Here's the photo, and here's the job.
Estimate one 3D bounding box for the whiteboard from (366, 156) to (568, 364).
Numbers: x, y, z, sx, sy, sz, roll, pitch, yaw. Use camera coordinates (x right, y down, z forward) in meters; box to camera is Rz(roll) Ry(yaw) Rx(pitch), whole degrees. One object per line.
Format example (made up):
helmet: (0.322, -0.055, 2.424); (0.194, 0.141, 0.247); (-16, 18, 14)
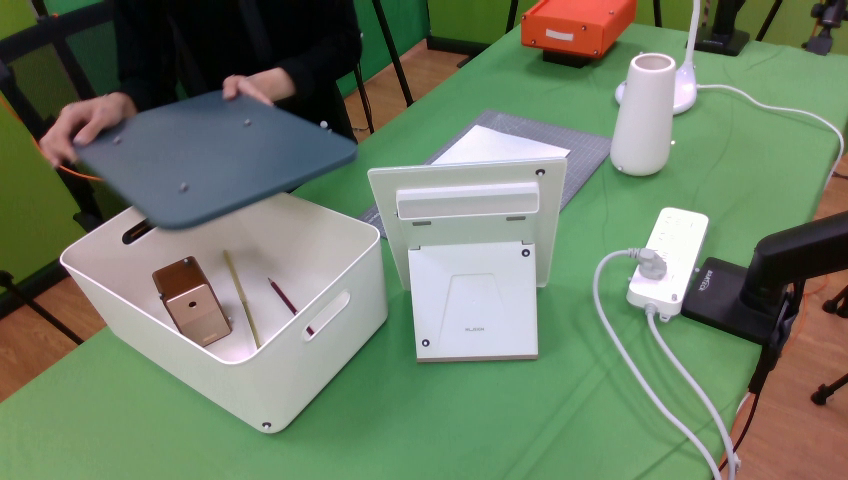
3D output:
whiteboard: (0.059, 0.050, 0.738); (0.217, 0.307, 0.143); (-2, 60, 5)

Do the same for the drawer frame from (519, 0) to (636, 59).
drawer frame: (0.362, -0.518, 1.423); (0.200, 0.083, 0.214); (19, 48, 29)

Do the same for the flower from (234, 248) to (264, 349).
flower: (-0.244, 0.108, 0.869); (0.044, 0.038, 0.358); (9, 27, -32)

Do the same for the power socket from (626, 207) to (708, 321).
power socket: (0.359, 0.025, 0.886); (0.072, 0.033, 0.227); (16, 46, 26)

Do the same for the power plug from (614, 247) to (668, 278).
power plug: (0.306, 0.031, 0.851); (0.072, 0.053, 0.035); (24, 49, 33)

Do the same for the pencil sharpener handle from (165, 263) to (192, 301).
pencil sharpener handle: (-0.354, 0.055, 0.867); (0.036, 0.068, 0.030); (-14, 38, -31)

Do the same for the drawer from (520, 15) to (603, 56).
drawer: (0.359, -0.517, 1.416); (0.193, 0.073, 0.212); (20, 47, 29)

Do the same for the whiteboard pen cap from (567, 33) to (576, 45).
whiteboard pen cap: (0.339, -0.463, 1.390); (0.018, 0.018, 0.033); (-2, 44, 5)

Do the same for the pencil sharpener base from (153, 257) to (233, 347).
pencil sharpener base: (-0.321, 0.088, 0.843); (0.061, 0.107, 0.076); (-28, 44, -20)

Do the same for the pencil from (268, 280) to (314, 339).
pencil: (-0.188, 0.106, 0.880); (0.012, 0.012, 0.192); (-28, 42, -23)

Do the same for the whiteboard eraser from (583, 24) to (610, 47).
whiteboard eraser: (0.407, -0.479, 1.423); (0.055, 0.042, 0.113); (-3, 10, 20)

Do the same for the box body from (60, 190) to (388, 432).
box body: (-0.256, 0.065, 0.827); (0.361, 0.161, 0.255); (20, 48, 29)

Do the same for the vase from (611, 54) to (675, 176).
vase: (0.377, -0.209, 1.031); (0.098, 0.201, 0.097); (-3, 40, 3)

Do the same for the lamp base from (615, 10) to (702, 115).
lamp base: (0.484, -0.364, 1.211); (0.180, 0.181, 0.159); (-15, 41, -14)

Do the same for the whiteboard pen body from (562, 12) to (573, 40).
whiteboard pen body: (0.341, -0.506, 1.430); (0.017, 0.017, 0.140); (-1, 43, 6)

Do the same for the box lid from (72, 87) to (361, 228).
box lid: (-0.285, -0.129, 0.809); (0.264, 0.015, 0.368); (-29, 41, -33)
